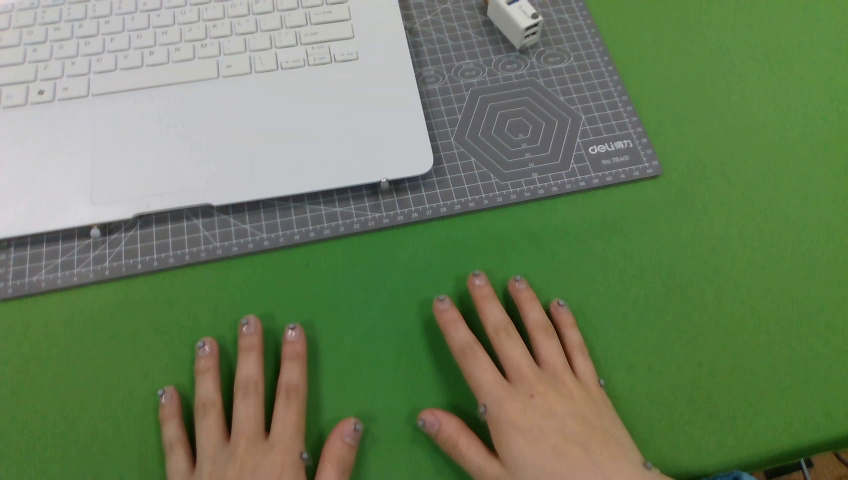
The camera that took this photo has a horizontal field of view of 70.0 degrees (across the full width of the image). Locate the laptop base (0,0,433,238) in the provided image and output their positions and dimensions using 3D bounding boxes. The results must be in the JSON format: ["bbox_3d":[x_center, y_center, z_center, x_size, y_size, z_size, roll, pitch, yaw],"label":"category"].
[{"bbox_3d":[-0.186,-0.121,0.450,0.355,0.023,0.233,-9,68,-5],"label":"laptop base"}]

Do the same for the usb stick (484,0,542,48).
[{"bbox_3d":[0.067,-0.182,0.476,0.021,0.027,0.058,-29,66,-13],"label":"usb stick"}]
